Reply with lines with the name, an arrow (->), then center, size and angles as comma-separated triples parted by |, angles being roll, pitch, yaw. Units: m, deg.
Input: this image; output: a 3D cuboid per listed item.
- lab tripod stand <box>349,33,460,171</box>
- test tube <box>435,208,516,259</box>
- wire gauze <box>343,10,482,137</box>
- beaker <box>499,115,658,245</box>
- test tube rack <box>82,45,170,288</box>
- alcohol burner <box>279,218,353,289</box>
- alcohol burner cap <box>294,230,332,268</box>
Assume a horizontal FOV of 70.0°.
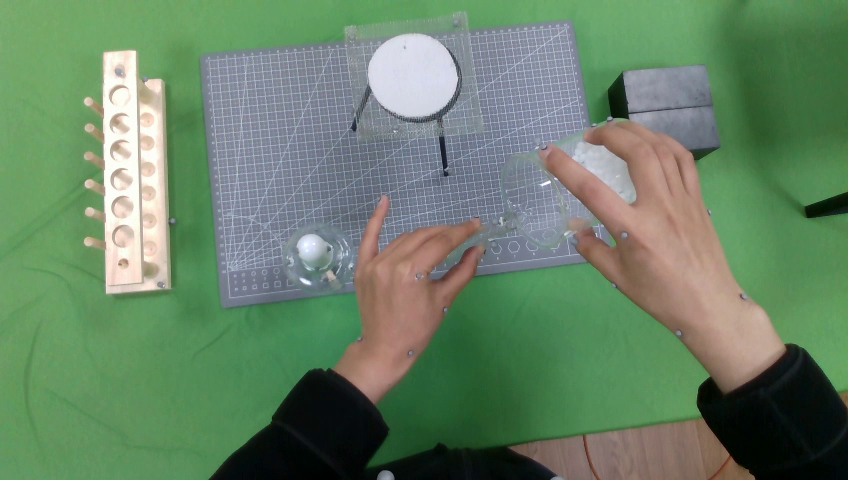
lab tripod stand -> -0.012, -0.154, 0.652 | 0.148, 0.132, 0.148 | 0, 80, -2
test tube -> 0.042, -0.003, 0.547 | 0.017, 0.150, 0.017 | 4, 77, -19
wire gauze -> -0.011, -0.160, 0.585 | 0.125, 0.011, 0.121 | -6, 83, -5
beaker -> 0.117, -0.047, 0.460 | 0.100, 0.084, 0.073 | -23, 80, -21
test tube rack -> -0.323, -0.074, 0.647 | 0.067, 0.085, 0.241 | -5, 82, -4
alcohol burner -> -0.114, 0.012, 0.632 | 0.078, 0.119, 0.077 | 1, 81, -5
alcohol burner cap -> -0.111, 0.007, 0.597 | 0.034, 0.048, 0.033 | 0, 76, 2
